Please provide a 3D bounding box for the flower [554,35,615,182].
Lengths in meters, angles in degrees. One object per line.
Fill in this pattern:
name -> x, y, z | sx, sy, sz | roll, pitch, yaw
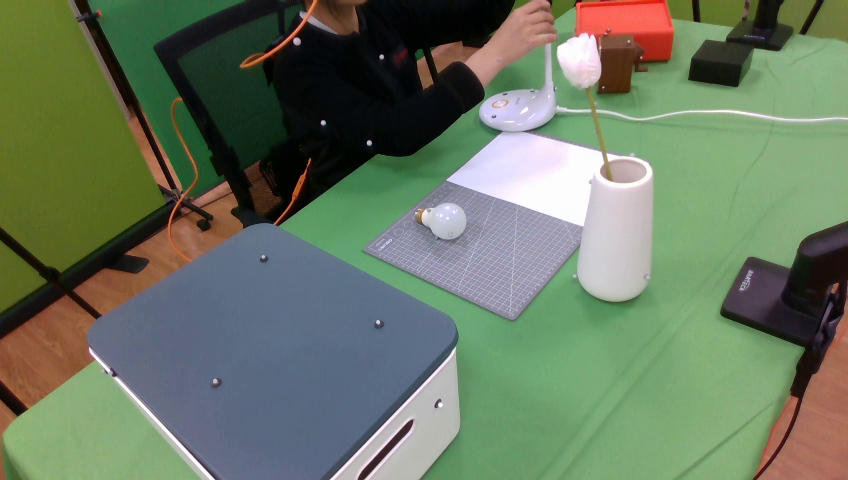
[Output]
flower -> 0.237, -0.083, 0.774 | 0.044, 0.363, 0.038 | -22, 26, 6

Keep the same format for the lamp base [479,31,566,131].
lamp base -> 0.199, -0.333, 1.219 | 0.179, 0.181, 0.160 | 1, 40, 8

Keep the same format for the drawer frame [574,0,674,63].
drawer frame -> 0.464, -0.492, 1.434 | 0.213, 0.083, 0.201 | 1, 40, 12

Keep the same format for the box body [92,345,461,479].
box body -> -0.162, 0.170, 0.708 | 0.361, 0.161, 0.255 | 25, 50, 34

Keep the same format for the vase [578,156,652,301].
vase -> 0.261, -0.011, 0.812 | 0.098, 0.201, 0.097 | -4, 40, 4

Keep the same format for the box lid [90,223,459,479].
box lid -> -0.174, 0.102, 0.666 | 0.368, 0.015, 0.264 | 24, 48, 35

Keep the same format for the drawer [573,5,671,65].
drawer -> 0.461, -0.490, 1.435 | 0.211, 0.073, 0.194 | 2, 41, 12

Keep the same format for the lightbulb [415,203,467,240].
lightbulb -> 0.024, -0.034, 0.999 | 0.060, 0.060, 0.107 | -38, 32, -30

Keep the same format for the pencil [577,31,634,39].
pencil -> 0.431, -0.488, 1.443 | 0.012, 0.012, 0.192 | -25, 30, -18

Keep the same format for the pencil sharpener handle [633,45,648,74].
pencil sharpener handle -> 0.454, -0.378, 1.262 | 0.030, 0.068, 0.036 | 1, 47, 13

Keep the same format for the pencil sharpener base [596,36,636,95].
pencil sharpener base -> 0.406, -0.369, 1.280 | 0.076, 0.107, 0.061 | 1, 41, 13
